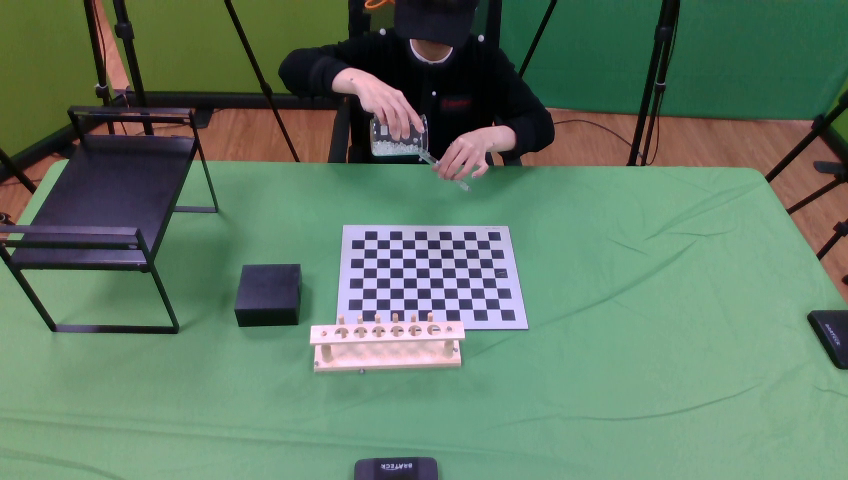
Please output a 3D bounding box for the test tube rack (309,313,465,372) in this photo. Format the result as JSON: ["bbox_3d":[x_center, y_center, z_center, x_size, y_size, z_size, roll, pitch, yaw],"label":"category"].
[{"bbox_3d":[-0.059,0.161,0.990,0.242,0.085,0.066,-1,46,-5],"label":"test tube rack"}]

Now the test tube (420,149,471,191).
[{"bbox_3d":[0.045,-0.134,1.177,0.017,0.151,0.017,-23,52,33],"label":"test tube"}]

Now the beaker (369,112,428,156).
[{"bbox_3d":[-0.047,-0.188,1.096,0.100,0.084,0.073,-4,43,-7],"label":"beaker"}]
